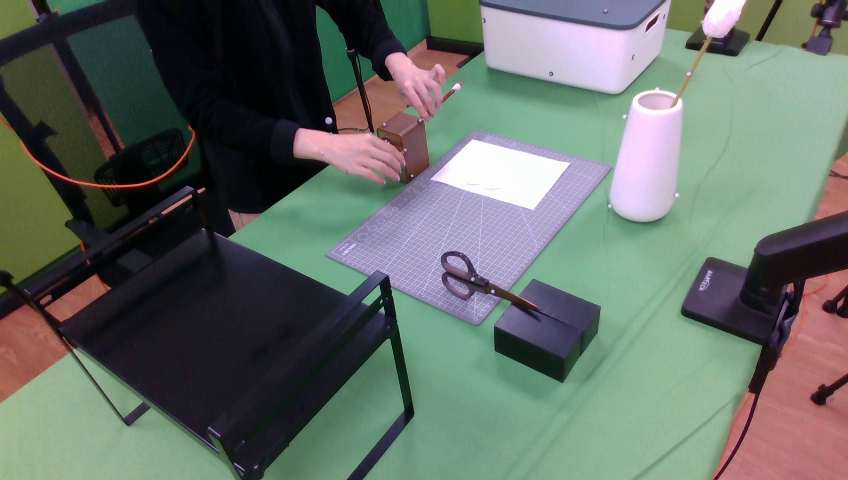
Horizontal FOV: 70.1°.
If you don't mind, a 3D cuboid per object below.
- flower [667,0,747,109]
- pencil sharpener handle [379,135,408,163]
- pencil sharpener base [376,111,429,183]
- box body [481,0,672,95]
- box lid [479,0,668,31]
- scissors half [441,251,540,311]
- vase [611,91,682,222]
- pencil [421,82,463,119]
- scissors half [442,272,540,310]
[{"bbox_3d":[0.354,-0.187,0.879,0.038,0.362,0.044,30,48,14],"label":"flower"},{"bbox_3d":[-0.060,-0.156,1.060,0.067,0.036,0.031,24,50,29],"label":"pencil sharpener handle"},{"bbox_3d":[-0.039,-0.169,1.115,0.061,0.107,0.077,23,49,30],"label":"pencil sharpener base"},{"bbox_3d":[0.341,-0.480,1.381,0.361,0.161,0.255,22,48,30],"label":"box body"},{"bbox_3d":[0.335,-0.536,1.331,0.368,0.015,0.264,23,49,30],"label":"box lid"},{"bbox_3d":[0.087,0.056,0.824,0.013,0.040,0.173,-30,44,-35],"label":"scissors half"},{"bbox_3d":[0.348,-0.125,0.935,0.098,0.201,0.097,-3,40,3],"label":"vase"},{"bbox_3d":[0.021,-0.255,1.159,0.012,0.012,0.194,21,51,29],"label":"pencil"},{"bbox_3d":[0.089,0.074,0.832,0.013,0.040,0.173,-24,23,-38],"label":"scissors half"}]
